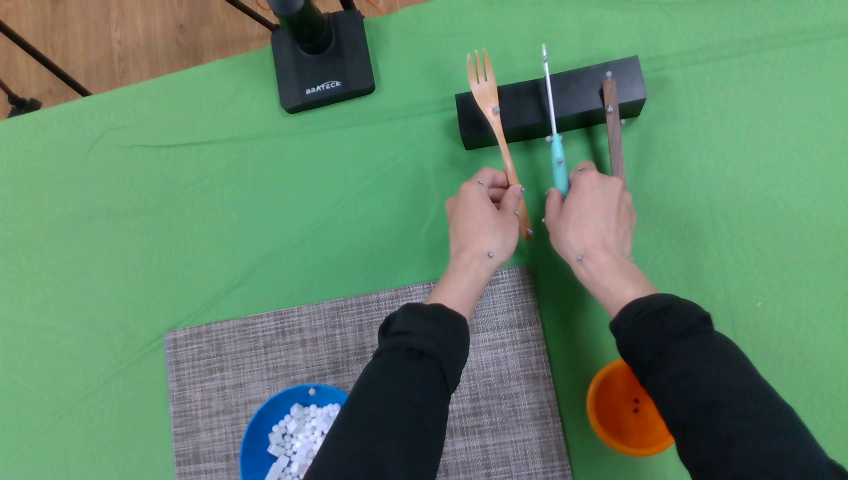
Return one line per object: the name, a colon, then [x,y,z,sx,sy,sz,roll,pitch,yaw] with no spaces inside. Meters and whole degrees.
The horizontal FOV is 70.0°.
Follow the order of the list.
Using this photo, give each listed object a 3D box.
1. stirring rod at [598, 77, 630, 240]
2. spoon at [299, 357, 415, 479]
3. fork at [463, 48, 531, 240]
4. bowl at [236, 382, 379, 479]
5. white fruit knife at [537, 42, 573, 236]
stirring rod: [0.206,-0.087,0.655,0.014,0.006,0.176,-9,99,7]
spoon: [-0.066,0.192,0.609,0.041,0.021,0.194,39,108,7]
fork: [0.081,-0.097,0.639,0.028,0.018,0.208,-18,100,0]
bowl: [-0.113,0.227,0.647,0.151,0.077,0.151,-2,80,10]
white fruit knife: [0.136,-0.105,0.645,0.016,0.027,0.207,-10,96,4]
